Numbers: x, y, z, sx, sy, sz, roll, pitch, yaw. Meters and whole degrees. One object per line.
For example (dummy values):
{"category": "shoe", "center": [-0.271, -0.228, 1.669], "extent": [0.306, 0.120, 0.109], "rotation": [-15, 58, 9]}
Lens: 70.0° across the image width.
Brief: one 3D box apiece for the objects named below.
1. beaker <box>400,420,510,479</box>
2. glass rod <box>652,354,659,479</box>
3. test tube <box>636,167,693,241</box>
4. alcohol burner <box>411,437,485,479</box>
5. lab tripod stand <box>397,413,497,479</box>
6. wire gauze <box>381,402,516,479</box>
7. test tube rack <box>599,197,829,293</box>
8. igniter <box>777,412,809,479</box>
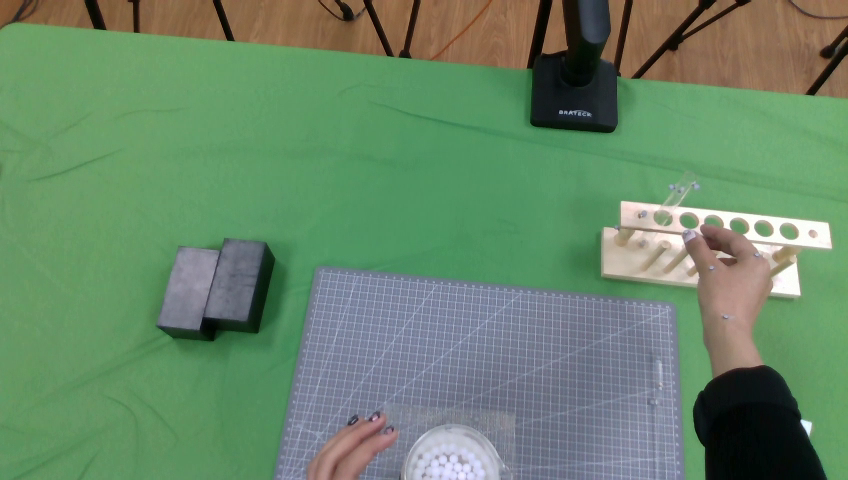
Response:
{"category": "beaker", "center": [0.023, 0.193, 0.500], "extent": [0.084, 0.101, 0.073], "rotation": [1, 65, 0]}
{"category": "glass rod", "center": [0.261, 0.227, 0.681], "extent": [0.008, 0.008, 0.198], "rotation": [7, 69, 2]}
{"category": "test tube", "center": [0.276, -0.038, 0.703], "extent": [0.017, 0.151, 0.017], "rotation": [0, 63, 0]}
{"category": "alcohol burner", "center": [0.025, 0.236, 0.617], "extent": [0.078, 0.120, 0.077], "rotation": [1, 65, -2]}
{"category": "lab tripod stand", "center": [0.020, 0.238, 0.605], "extent": [0.148, 0.132, 0.147], "rotation": [0, 66, 1]}
{"category": "wire gauze", "center": [0.020, 0.209, 0.546], "extent": [0.125, 0.011, 0.120], "rotation": [3, 64, 3]}
{"category": "test tube rack", "center": [0.346, 0.008, 0.739], "extent": [0.242, 0.086, 0.066], "rotation": [6, 66, 2]}
{"category": "igniter", "center": [0.387, 0.321, 0.636], "extent": [0.057, 0.025, 0.275], "rotation": [17, 67, -5]}
